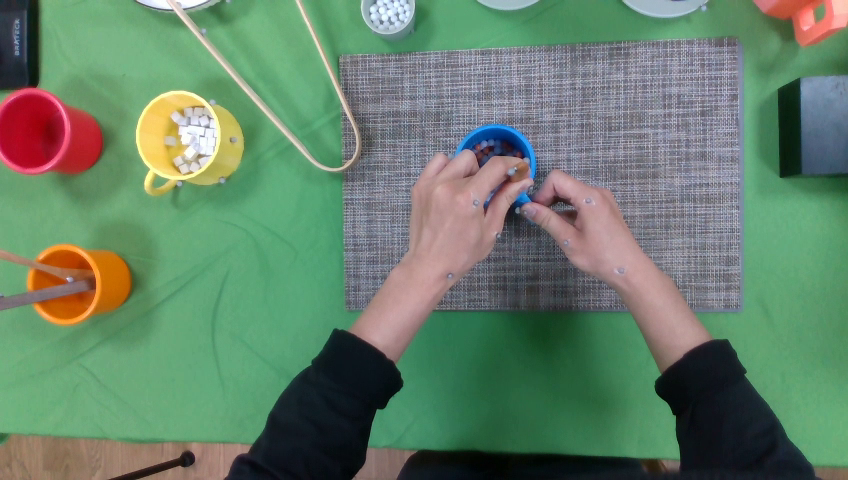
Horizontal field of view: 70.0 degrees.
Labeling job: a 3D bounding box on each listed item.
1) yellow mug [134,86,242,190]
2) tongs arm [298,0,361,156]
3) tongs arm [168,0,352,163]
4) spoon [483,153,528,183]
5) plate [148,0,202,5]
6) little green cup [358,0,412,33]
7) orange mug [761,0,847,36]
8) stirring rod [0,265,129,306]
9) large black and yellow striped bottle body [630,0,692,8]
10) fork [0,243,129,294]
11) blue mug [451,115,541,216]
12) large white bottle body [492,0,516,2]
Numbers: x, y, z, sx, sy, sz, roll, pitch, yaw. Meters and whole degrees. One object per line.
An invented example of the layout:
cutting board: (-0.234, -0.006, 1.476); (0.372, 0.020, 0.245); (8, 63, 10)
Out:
yellow mug: (-0.282, -0.111, 0.706); (0.100, 0.064, 0.131); (38, 96, 3)
tongs arm: (-0.155, -0.278, 0.685); (0.028, 0.027, 0.388); (-26, 96, -2)
tongs arm: (-0.225, -0.231, 0.691); (0.051, 0.026, 0.385); (-39, 95, 2)
spoon: (0.082, -0.067, 0.576); (0.041, 0.193, 0.021); (-13, 94, 2)
plate: (-0.288, -0.378, 0.712); (0.207, 0.039, 0.207); (0, 92, 6)
little green cup: (-0.042, -0.268, 0.691); (0.061, 0.038, 0.061); (0, 92, 6)
orange mug: (0.396, -0.279, 0.616); (0.083, 0.101, 0.126); (-10, 86, 7)
stirring rod: (-0.431, 0.055, 0.690); (0.177, 0.006, 0.014); (-16, 85, -35)
large black and yellow striped bottle body: (0.255, -0.319, 0.586); (0.130, 0.184, 0.130); (0, 91, 6)
fork: (-0.441, 0.021, 0.684); (0.209, 0.018, 0.028); (27, 89, -39)
blue mug: (0.084, -0.070, 0.647); (0.082, 0.106, 0.116); (-41, 88, 5)
large white bottle body: (0.084, -0.334, 0.602); (0.130, 0.185, 0.130); (0, 91, 6)
